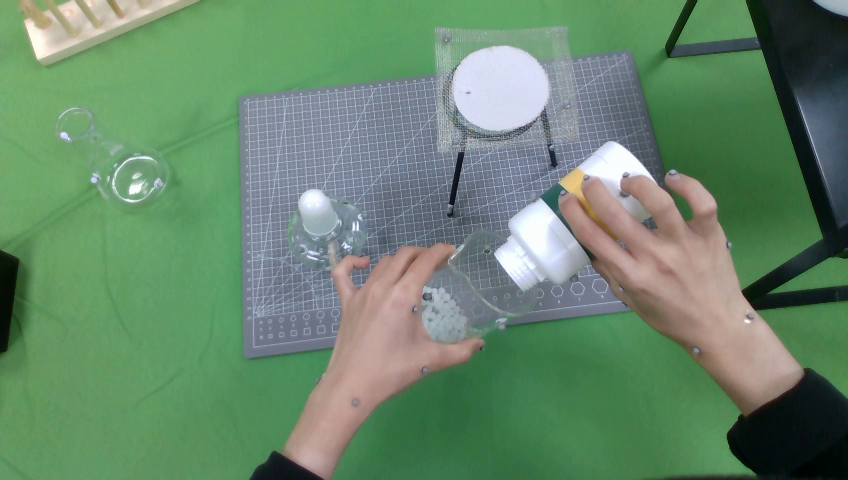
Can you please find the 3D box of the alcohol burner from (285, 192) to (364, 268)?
[{"bbox_3d":[-0.097,-0.016,0.576,0.078,0.120,0.077,0,69,1],"label":"alcohol burner"}]

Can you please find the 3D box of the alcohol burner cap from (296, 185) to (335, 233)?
[{"bbox_3d":[-0.099,-0.030,0.543,0.034,0.048,0.033,0,64,0],"label":"alcohol burner cap"}]

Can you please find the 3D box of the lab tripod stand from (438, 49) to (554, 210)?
[{"bbox_3d":[0.064,-0.110,0.592,0.148,0.132,0.147,0,69,1],"label":"lab tripod stand"}]

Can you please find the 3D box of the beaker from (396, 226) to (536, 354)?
[{"bbox_3d":[0.028,0.044,0.491,0.084,0.100,0.073,15,53,-31],"label":"beaker"}]

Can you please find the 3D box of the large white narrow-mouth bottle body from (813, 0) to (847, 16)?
[{"bbox_3d":[0.349,-0.256,0.414,0.102,0.196,0.101,0,69,2],"label":"large white narrow-mouth bottle body"}]

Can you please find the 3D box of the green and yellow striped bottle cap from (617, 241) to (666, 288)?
[{"bbox_3d":[0.217,0.024,0.603,0.045,0.020,0.045,-1,71,4],"label":"green and yellow striped bottle cap"}]

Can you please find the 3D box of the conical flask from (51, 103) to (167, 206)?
[{"bbox_3d":[-0.318,-0.089,0.607,0.075,0.122,0.075,-1,70,2],"label":"conical flask"}]

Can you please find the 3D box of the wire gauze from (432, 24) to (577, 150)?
[{"bbox_3d":[0.069,-0.138,0.530,0.121,0.011,0.124,-1,71,0],"label":"wire gauze"}]

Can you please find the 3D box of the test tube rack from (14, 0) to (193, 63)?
[{"bbox_3d":[-0.362,-0.303,0.701,0.242,0.086,0.066,-26,72,-7],"label":"test tube rack"}]

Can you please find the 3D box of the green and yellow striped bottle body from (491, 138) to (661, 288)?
[{"bbox_3d":[0.108,-0.015,0.451,0.119,0.063,0.063,-39,72,8],"label":"green and yellow striped bottle body"}]
